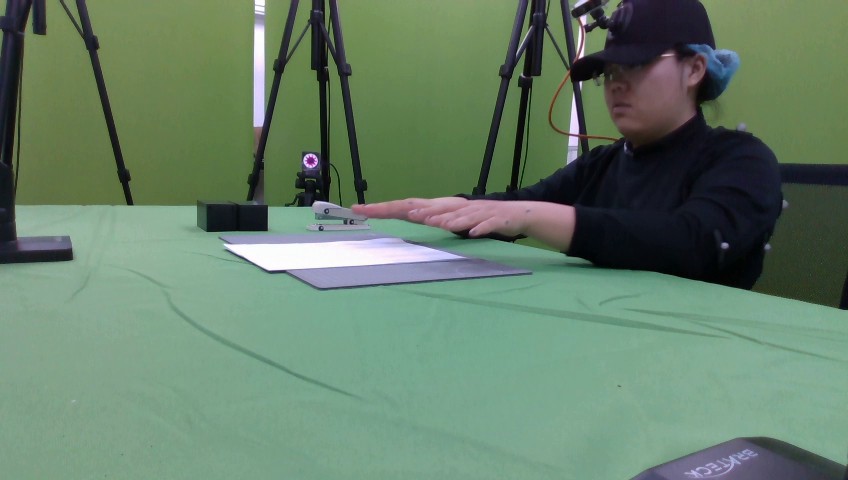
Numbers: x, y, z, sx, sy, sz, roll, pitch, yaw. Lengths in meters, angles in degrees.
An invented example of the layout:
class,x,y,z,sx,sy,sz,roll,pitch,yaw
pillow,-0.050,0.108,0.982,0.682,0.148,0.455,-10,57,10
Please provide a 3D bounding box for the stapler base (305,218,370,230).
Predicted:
class,x,y,z,sx,sy,sz,roll,pitch,yaw
stapler base,-0.173,-0.034,1.215,0.131,0.024,0.041,0,10,-35

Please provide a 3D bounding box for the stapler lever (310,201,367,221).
class,x,y,z,sx,sy,sz,roll,pitch,yaw
stapler lever,-0.171,-0.057,1.213,0.119,0.040,0.026,-1,11,-34
